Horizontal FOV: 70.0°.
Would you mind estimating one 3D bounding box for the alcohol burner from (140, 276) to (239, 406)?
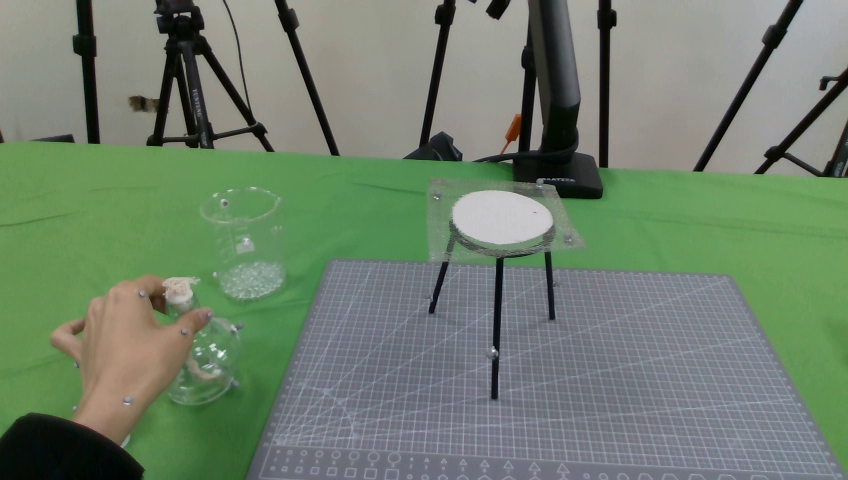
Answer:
[{"bbox_3d":[-0.195,0.079,0.499,0.078,0.120,0.077,3,33,-2],"label":"alcohol burner"}]

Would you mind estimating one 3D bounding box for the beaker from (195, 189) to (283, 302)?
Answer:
[{"bbox_3d":[-0.185,0.007,0.629,0.084,0.101,0.073,-22,39,-31],"label":"beaker"}]

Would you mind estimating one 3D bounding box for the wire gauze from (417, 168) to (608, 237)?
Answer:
[{"bbox_3d":[0.069,-0.031,0.498,0.125,0.011,0.120,-6,28,-22],"label":"wire gauze"}]

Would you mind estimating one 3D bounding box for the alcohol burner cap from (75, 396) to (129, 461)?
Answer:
[{"bbox_3d":[-0.253,0.143,0.469,0.034,0.048,0.033,1,31,0],"label":"alcohol burner cap"}]

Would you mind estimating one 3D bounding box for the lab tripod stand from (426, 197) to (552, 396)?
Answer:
[{"bbox_3d":[0.063,0.041,0.540,0.148,0.132,0.147,2,34,-1],"label":"lab tripod stand"}]
